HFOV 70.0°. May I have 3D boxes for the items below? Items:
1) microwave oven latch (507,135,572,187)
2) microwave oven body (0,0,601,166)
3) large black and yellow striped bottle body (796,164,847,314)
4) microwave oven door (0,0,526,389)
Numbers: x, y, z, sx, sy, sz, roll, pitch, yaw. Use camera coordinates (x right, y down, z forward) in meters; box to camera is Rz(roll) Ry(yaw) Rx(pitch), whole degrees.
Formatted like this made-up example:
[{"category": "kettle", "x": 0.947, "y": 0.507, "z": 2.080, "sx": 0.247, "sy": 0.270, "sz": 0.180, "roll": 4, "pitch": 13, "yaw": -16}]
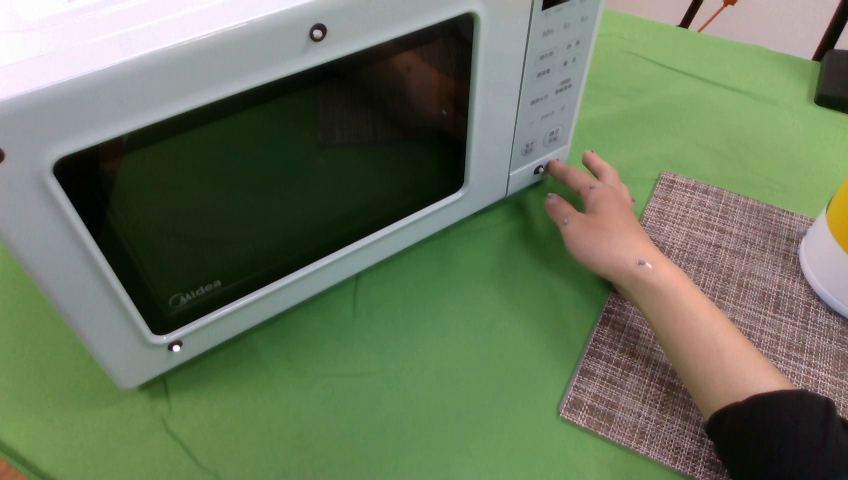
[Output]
[{"category": "microwave oven latch", "x": 0.103, "y": -0.080, "z": 0.577, "sx": 0.079, "sy": 0.030, "sz": 0.030, "roll": -26, "pitch": 55, "yaw": -20}, {"category": "microwave oven body", "x": -0.129, "y": -0.158, "z": 0.516, "sx": 0.442, "sy": 0.262, "sz": 0.322, "roll": -28, "pitch": 55, "yaw": -21}, {"category": "large black and yellow striped bottle body", "x": 0.387, "y": -0.031, "z": 0.455, "sx": 0.131, "sy": 0.185, "sz": 0.129, "roll": 0, "pitch": 49, "yaw": 0}, {"category": "microwave oven door", "x": -0.081, "y": -0.054, "z": 0.419, "sx": 0.356, "sy": 0.246, "sz": 0.039, "roll": -28, "pitch": 54, "yaw": -22}]
